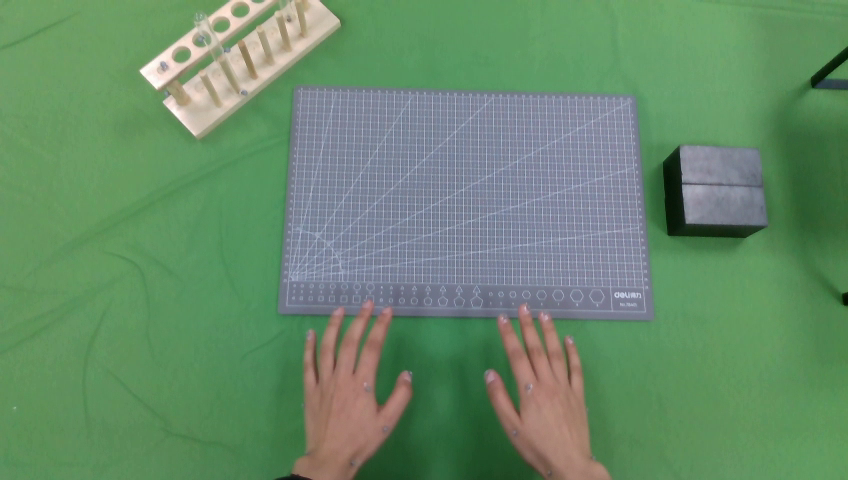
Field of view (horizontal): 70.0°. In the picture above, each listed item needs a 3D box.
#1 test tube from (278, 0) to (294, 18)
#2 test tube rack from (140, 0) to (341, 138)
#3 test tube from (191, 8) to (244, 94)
[{"bbox_3d":[-0.180,-0.320,0.727,0.017,0.151,0.017,0,72,1],"label":"test tube"},{"bbox_3d":[-0.220,-0.243,0.756,0.242,0.085,0.066,-43,80,-12],"label":"test tube rack"},{"bbox_3d":[-0.237,-0.215,0.702,0.017,0.151,0.017,0,72,0],"label":"test tube"}]
